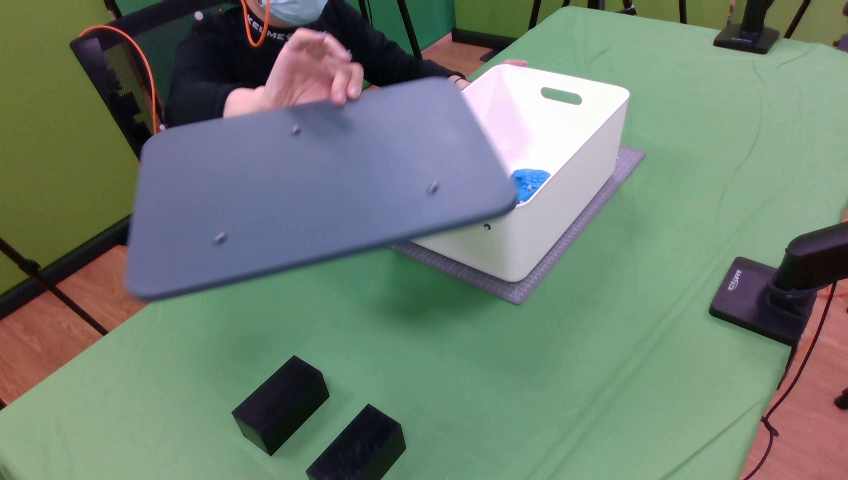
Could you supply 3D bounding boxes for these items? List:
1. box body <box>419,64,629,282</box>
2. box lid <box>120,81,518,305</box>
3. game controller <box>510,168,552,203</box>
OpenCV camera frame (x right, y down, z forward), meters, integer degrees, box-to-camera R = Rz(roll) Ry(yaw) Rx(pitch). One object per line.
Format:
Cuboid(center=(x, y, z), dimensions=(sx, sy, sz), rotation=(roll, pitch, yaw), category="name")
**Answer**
Cuboid(center=(0.137, -0.121, 0.977), dimensions=(0.252, 0.161, 0.365), rotation=(22, 48, 30), category="box body")
Cuboid(center=(-0.111, -0.068, 0.626), dimensions=(0.372, 0.015, 0.261), rotation=(-13, 45, -8), category="box lid")
Cuboid(center=(0.147, -0.080, 1.007), dimensions=(0.156, 0.052, 0.096), rotation=(-29, 50, -24), category="game controller")
